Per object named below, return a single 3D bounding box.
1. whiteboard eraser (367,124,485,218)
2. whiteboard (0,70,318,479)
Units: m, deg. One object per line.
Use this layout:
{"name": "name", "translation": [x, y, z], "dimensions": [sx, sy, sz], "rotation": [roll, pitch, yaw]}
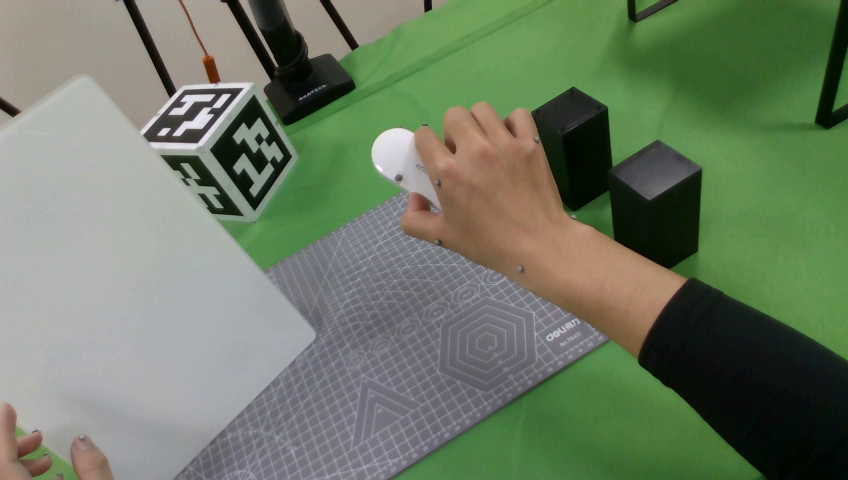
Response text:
{"name": "whiteboard eraser", "translation": [0.002, -0.054, 0.475], "dimensions": [0.101, 0.019, 0.041], "rotation": [32, 83, 1]}
{"name": "whiteboard", "translation": [-0.288, 0.044, 0.543], "dimensions": [0.217, 0.308, 0.142], "rotation": [-46, 30, -19]}
